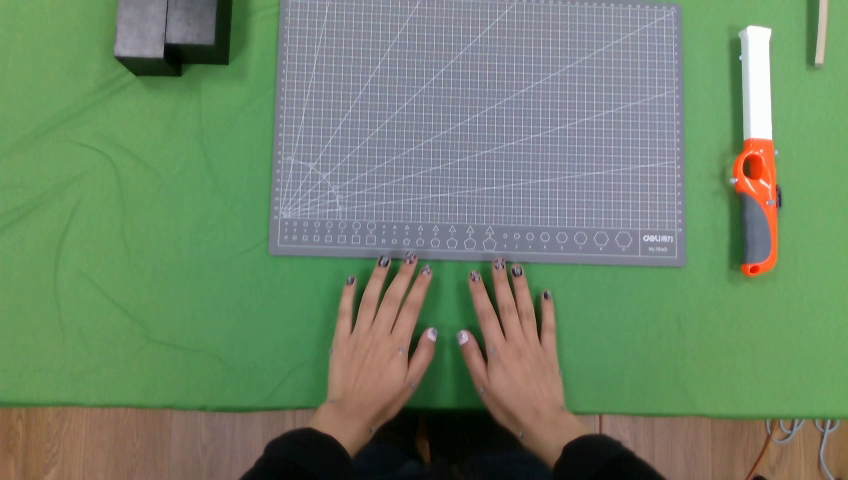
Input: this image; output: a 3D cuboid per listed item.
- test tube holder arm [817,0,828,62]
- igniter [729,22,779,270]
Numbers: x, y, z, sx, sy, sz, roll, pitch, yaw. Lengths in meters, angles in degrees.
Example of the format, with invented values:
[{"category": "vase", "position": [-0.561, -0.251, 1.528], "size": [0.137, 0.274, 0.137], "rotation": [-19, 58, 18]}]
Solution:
[{"category": "test tube holder arm", "position": [0.454, -0.291, 0.691], "size": [0.013, 0.015, 0.178], "rotation": [-1, 84, 33]}, {"category": "igniter", "position": [0.363, -0.104, 0.667], "size": [0.057, 0.025, 0.276], "rotation": [3, 85, -12]}]
